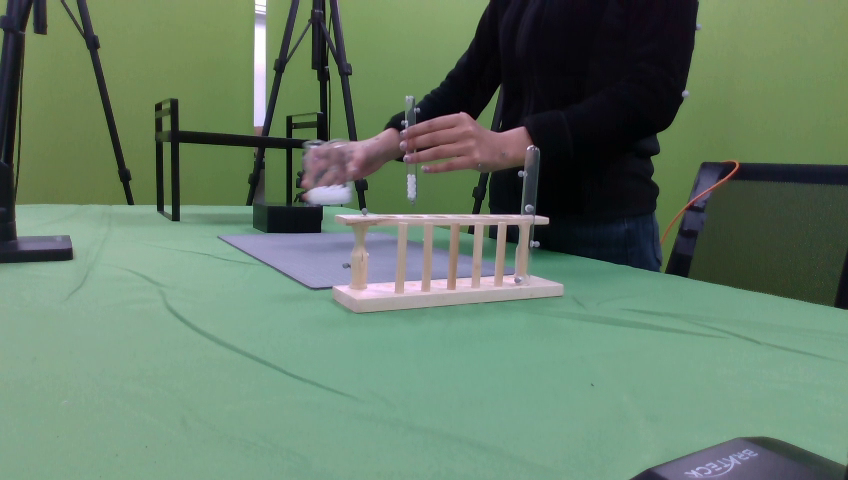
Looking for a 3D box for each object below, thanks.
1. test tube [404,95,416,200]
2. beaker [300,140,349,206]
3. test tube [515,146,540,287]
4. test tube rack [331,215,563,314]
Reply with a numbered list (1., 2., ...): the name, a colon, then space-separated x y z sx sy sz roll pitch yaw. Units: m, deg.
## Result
1. test tube: -0.020 -0.132 0.869 0.017 0.150 0.017 -1 6 0
2. beaker: -0.159 -0.107 0.972 0.074 0.100 0.084 -4 1 -8
3. test tube: 0.109 -0.024 0.638 0.017 0.150 0.017 3 6 0
4. test tube rack: 0.031 0.019 0.625 0.243 0.085 0.066 -1 8 -28
